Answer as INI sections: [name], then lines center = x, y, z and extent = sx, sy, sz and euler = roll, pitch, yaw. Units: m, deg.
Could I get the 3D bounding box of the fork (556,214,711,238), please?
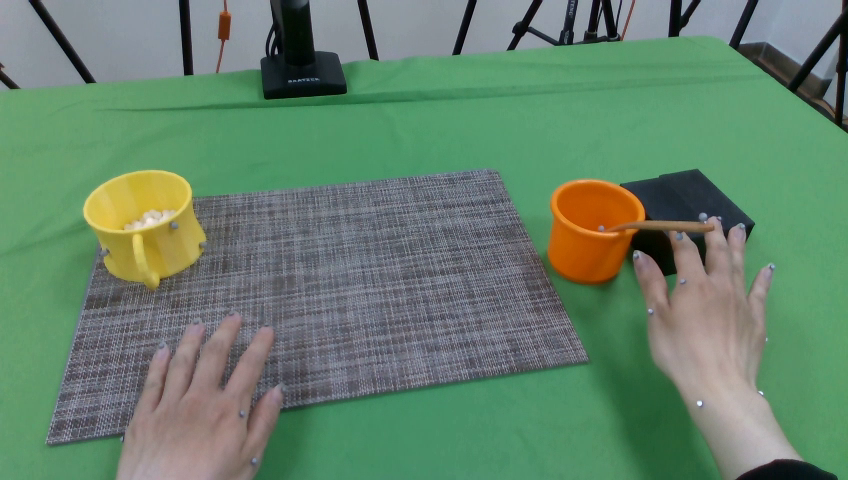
[fork]
center = 0.186, -0.013, 0.566
extent = 0.028, 0.018, 0.206
euler = -6, -2, -19

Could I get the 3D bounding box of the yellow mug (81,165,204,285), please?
[yellow mug]
center = -0.275, -0.011, 0.600
extent = 0.100, 0.064, 0.129
euler = -11, 45, -15
